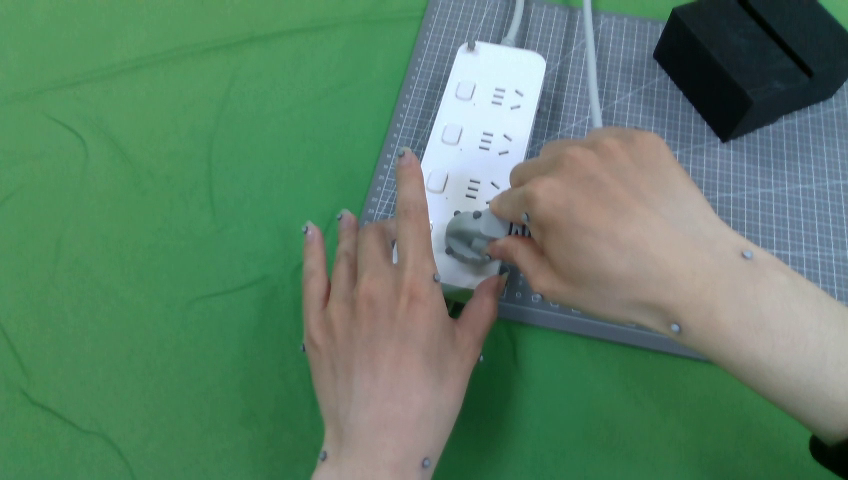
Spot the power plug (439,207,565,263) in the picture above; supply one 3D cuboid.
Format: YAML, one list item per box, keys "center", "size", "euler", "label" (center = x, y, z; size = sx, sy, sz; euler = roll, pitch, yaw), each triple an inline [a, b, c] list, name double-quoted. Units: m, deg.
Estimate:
- center: [0.044, 0.006, 0.383]
  size: [0.072, 0.053, 0.035]
  euler: [27, 65, 7]
  label: "power plug"

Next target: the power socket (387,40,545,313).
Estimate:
- center: [0.034, -0.056, 0.438]
  size: [0.072, 0.033, 0.225]
  euler: [14, 64, 7]
  label: "power socket"
